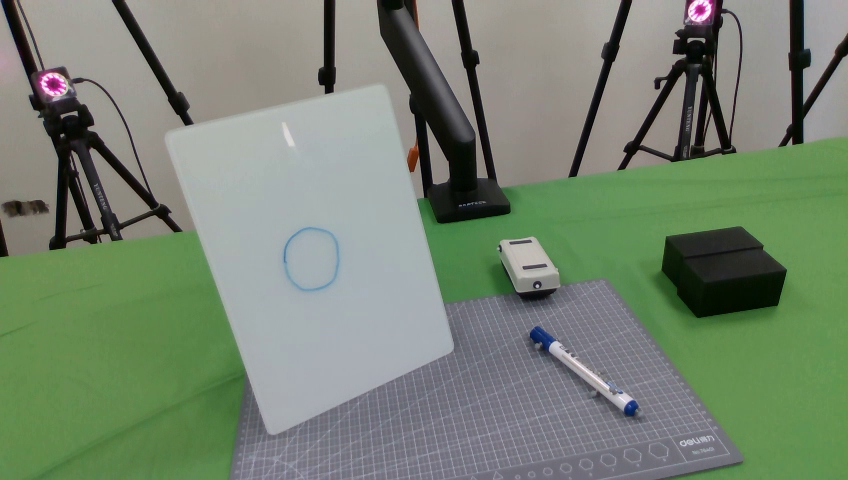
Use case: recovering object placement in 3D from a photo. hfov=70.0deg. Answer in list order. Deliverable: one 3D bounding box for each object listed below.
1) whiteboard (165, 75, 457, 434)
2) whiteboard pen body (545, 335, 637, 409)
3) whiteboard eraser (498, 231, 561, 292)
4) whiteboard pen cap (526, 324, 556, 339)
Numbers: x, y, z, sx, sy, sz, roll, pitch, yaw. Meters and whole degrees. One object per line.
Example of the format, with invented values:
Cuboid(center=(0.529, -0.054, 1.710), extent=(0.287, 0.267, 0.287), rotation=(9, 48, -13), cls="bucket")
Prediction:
Cuboid(center=(-0.122, 0.005, 0.656), extent=(0.218, 0.307, 0.143), rotation=(-20, 15, -23), cls="whiteboard")
Cuboid(center=(0.163, 0.128, 0.628), extent=(0.017, 0.017, 0.139), rotation=(-21, 34, -24), cls="whiteboard pen body")
Cuboid(center=(0.134, 0.027, 0.782), extent=(0.055, 0.042, 0.111), rotation=(-9, 27, -3), cls="whiteboard eraser")
Cuboid(center=(0.130, 0.102, 0.673), extent=(0.033, 0.018, 0.018), rotation=(2, 31, 15), cls="whiteboard pen cap")
